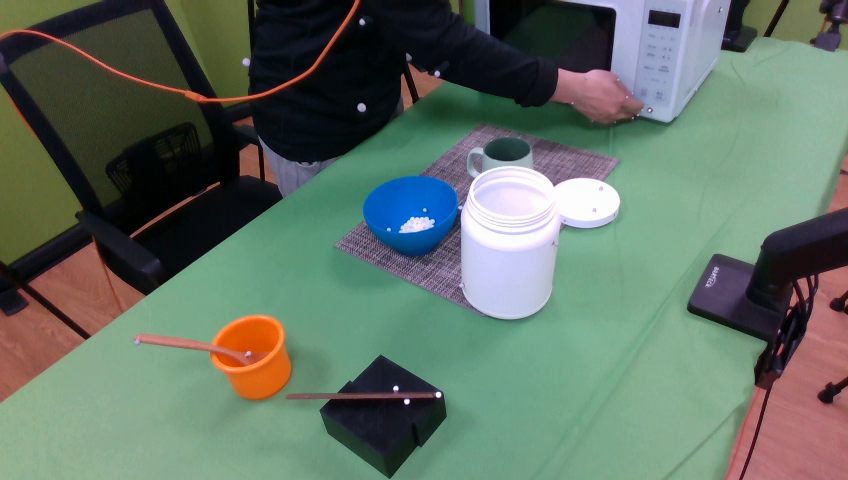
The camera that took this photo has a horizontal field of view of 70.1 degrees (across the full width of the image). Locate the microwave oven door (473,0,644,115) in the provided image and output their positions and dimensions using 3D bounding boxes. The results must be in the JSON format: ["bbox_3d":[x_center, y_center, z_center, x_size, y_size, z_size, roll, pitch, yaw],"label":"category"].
[{"bbox_3d":[0.257,-0.396,1.199,0.353,0.245,0.039,21,48,29],"label":"microwave oven door"}]

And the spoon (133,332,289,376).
[{"bbox_3d":[-0.257,0.137,0.747,0.021,0.195,0.041,-48,39,22],"label":"spoon"}]

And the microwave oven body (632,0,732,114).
[{"bbox_3d":[0.377,-0.463,1.267,0.438,0.261,0.327,21,49,30],"label":"microwave oven body"}]

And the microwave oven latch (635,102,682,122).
[{"bbox_3d":[0.447,-0.251,1.159,0.078,0.029,0.030,29,53,35],"label":"microwave oven latch"}]

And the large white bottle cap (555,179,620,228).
[{"bbox_3d":[0.265,-0.062,1.001,0.115,0.018,0.114,-4,41,4],"label":"large white bottle cap"}]

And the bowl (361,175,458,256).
[{"bbox_3d":[-0.019,-0.029,0.955,0.151,0.077,0.150,-4,40,3],"label":"bowl"}]

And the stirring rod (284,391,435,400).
[{"bbox_3d":[-0.075,0.180,0.698,0.176,0.006,0.014,-2,6,6],"label":"stirring rod"}]

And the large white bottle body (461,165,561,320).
[{"bbox_3d":[0.115,0.004,0.816,0.130,0.185,0.130,-2,43,2],"label":"large white bottle body"}]

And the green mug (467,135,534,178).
[{"bbox_3d":[0.126,-0.114,1.014,0.124,0.105,0.093,21,48,30],"label":"green mug"}]
